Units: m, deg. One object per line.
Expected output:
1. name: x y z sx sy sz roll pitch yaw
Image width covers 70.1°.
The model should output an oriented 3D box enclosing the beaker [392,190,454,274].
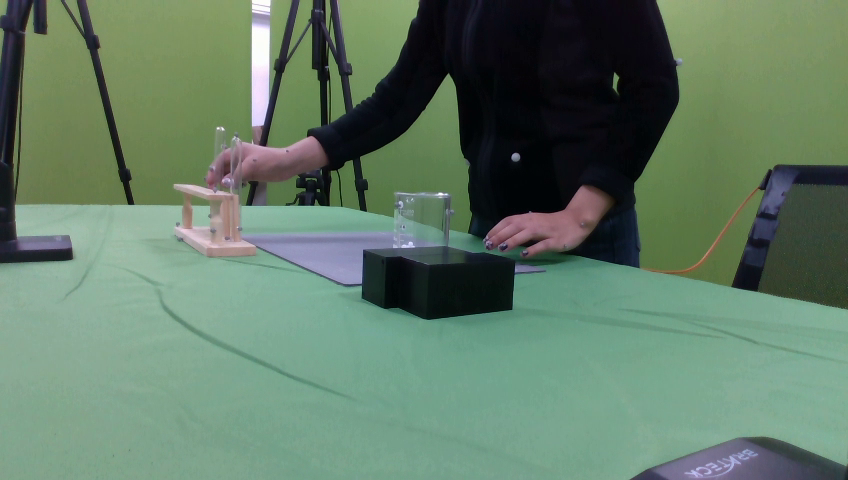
1. beaker: -0.005 -0.011 0.760 0.074 0.100 0.083 -2 8 -32

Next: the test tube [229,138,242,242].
1. test tube: -0.270 -0.071 0.866 0.017 0.150 0.017 3 8 0

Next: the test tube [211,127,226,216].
1. test tube: -0.328 -0.104 0.964 0.017 0.150 0.017 4 5 0

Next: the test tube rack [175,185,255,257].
1. test tube rack: -0.324 -0.035 0.922 0.067 0.085 0.241 -2 8 -32
